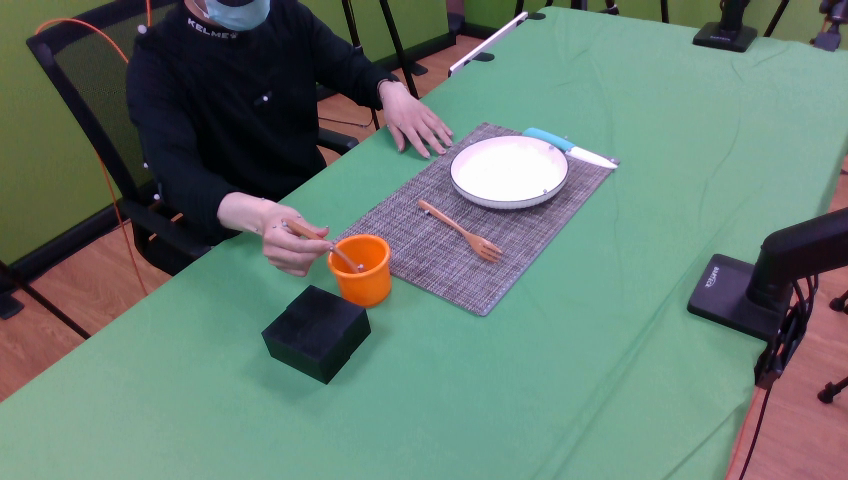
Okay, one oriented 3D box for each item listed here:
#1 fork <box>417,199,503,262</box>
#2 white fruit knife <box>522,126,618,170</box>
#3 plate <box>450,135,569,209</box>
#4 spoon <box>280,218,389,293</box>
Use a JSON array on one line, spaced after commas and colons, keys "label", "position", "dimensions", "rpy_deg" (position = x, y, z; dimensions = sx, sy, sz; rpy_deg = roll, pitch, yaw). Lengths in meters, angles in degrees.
[{"label": "fork", "position": [0.053, -0.021, 0.981], "dimensions": [0.019, 0.028, 0.205], "rpy_deg": [1, 26, -41]}, {"label": "white fruit knife", "position": [0.272, -0.172, 1.132], "dimensions": [0.205, 0.016, 0.027], "rpy_deg": [32, 82, 34]}, {"label": "plate", "position": [0.149, -0.117, 1.065], "dimensions": [0.209, 0.038, 0.208], "rpy_deg": [-4, 41, 4]}, {"label": "spoon", "position": [-0.121, 0.021, 0.847], "dimensions": [0.021, 0.195, 0.041], "rpy_deg": [-34, 36, 21]}]
